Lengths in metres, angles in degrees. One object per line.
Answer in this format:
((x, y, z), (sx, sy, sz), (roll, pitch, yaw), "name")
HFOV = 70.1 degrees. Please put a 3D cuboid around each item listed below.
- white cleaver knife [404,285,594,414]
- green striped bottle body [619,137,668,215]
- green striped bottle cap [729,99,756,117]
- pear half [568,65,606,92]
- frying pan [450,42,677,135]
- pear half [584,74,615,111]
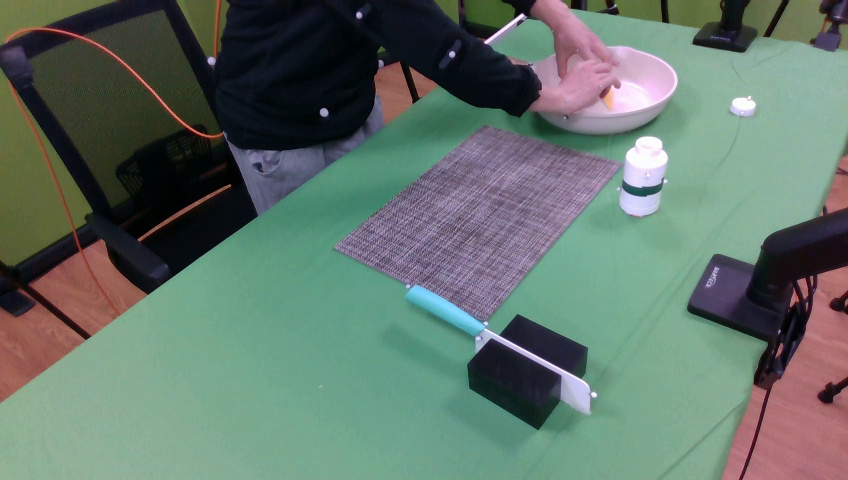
((0.084, 0.135, 0.764), (0.284, 0.066, 0.021), (27, 46, 31), "white cleaver knife")
((0.350, -0.103, 0.963), (0.063, 0.120, 0.063), (-4, 41, 4), "green striped bottle body")
((0.623, -0.259, 1.182), (0.044, 0.020, 0.044), (-3, 41, 3), "green striped bottle cap")
((0.327, -0.330, 1.242), (0.076, 0.056, 0.110), (6, 16, 42), "pear half")
((0.268, -0.345, 1.267), (0.485, 0.103, 0.307), (26, 49, 21), "frying pan")
((0.348, -0.293, 1.174), (0.031, 0.088, 0.070), (-35, 16, 11), "pear half")
